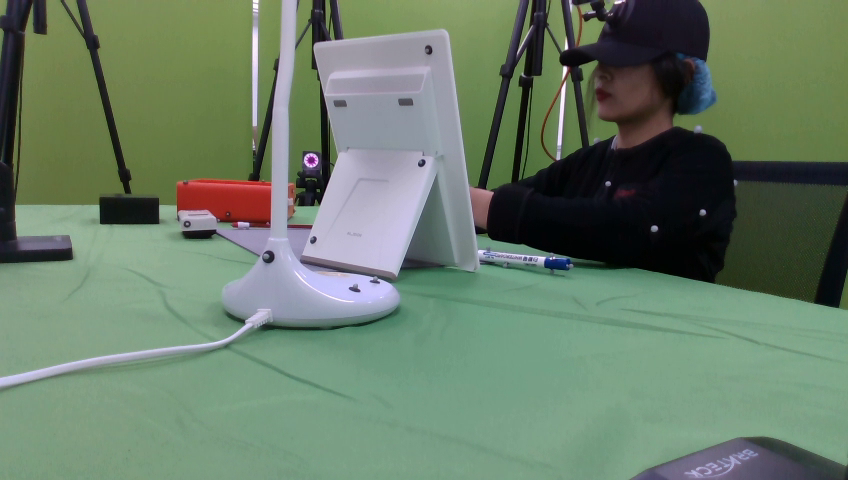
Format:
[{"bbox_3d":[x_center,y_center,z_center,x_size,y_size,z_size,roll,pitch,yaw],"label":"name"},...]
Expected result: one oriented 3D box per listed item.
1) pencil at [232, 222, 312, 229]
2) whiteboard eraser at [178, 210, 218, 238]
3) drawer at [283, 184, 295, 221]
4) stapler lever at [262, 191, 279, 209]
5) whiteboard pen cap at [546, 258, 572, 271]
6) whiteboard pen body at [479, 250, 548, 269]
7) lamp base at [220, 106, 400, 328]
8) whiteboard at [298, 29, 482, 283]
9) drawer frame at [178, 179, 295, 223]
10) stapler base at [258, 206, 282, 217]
[{"bbox_3d":[-0.261,-0.025,1.141,0.195,0.012,0.012,2,7,-26],"label":"pencil"},{"bbox_3d":[-0.380,-0.027,1.014,0.056,0.042,0.112,0,8,-25],"label":"whiteboard eraser"},{"bbox_3d":[-0.394,-0.087,1.317,0.212,0.073,0.194,1,8,-7],"label":"drawer"},{"bbox_3d":[-0.329,-0.086,1.306,0.027,0.040,0.118,9,3,-9],"label":"stapler lever"},{"bbox_3d":[0.175,0.032,0.790,0.033,0.018,0.018,3,6,37],"label":"whiteboard pen cap"},{"bbox_3d":[0.129,0.027,0.827,0.140,0.017,0.017,6,8,38],"label":"whiteboard pen body"},{"bbox_3d":[-0.101,-0.023,0.531,0.160,0.180,0.179,4,10,10],"label":"lamp base"},{"bbox_3d":[-0.075,-0.082,0.741,0.216,0.305,0.144,9,29,37],"label":"whiteboard"},{"bbox_3d":[-0.397,-0.088,1.315,0.214,0.082,0.201,1,8,-7],"label":"drawer frame"},{"bbox_3d":[-0.331,-0.065,1.305,0.041,0.024,0.130,9,-1,-9],"label":"stapler base"}]
